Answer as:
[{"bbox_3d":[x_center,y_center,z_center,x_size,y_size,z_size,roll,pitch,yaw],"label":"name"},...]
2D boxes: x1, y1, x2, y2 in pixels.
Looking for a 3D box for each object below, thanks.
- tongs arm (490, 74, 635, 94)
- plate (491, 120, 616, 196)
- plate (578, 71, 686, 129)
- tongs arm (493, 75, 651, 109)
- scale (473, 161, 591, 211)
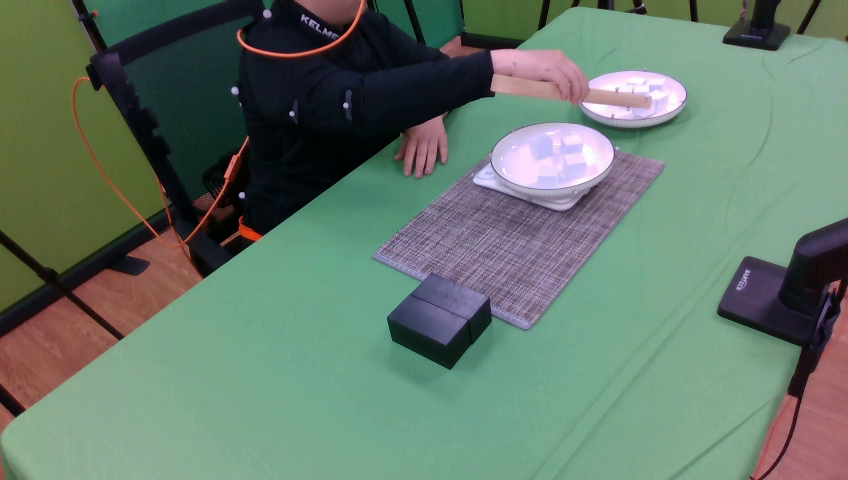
[{"bbox_3d":[0.258,-0.262,1.071,0.391,0.028,0.028,-4,26,-36],"label":"tongs arm"},{"bbox_3d":[0.221,-0.137,1.038,0.207,0.039,0.206,-6,41,5],"label":"plate"},{"bbox_3d":[0.416,-0.279,1.222,0.209,0.038,0.208,-5,41,5],"label":"plate"},{"bbox_3d":[0.271,-0.255,1.053,0.388,0.026,0.050,-6,23,-40],"label":"tongs arm"},{"bbox_3d":[0.202,-0.121,1.074,0.199,0.032,0.149,23,49,33],"label":"scale"}]
